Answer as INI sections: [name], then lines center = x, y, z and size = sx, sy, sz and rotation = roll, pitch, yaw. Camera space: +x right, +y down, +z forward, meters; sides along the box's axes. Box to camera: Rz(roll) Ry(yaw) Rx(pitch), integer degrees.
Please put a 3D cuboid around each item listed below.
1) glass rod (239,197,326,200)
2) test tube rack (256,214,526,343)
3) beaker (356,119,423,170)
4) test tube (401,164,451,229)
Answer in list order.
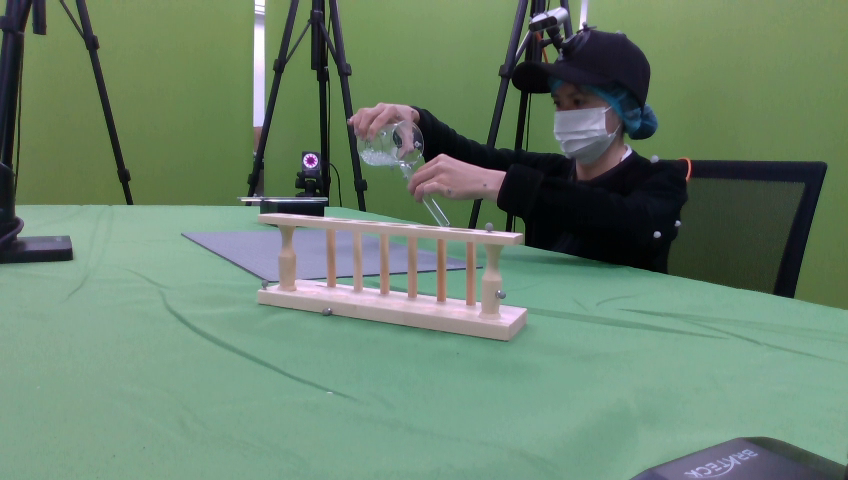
[glass rod]
center = -0.288, -0.087, 1.250
size = 0.201, 0.008, 0.008
rotation = -4, 10, -42
[test tube rack]
center = -0.032, 0.027, 0.547
size = 0.241, 0.085, 0.067
rotation = 5, 7, 22
[beaker]
center = -0.062, -0.161, 1.031
size = 0.074, 0.084, 0.100
rotation = 4, 2, -44
[test tube]
center = 0.002, -0.068, 0.962
size = 0.017, 0.017, 0.149
rotation = -3, 48, -39
